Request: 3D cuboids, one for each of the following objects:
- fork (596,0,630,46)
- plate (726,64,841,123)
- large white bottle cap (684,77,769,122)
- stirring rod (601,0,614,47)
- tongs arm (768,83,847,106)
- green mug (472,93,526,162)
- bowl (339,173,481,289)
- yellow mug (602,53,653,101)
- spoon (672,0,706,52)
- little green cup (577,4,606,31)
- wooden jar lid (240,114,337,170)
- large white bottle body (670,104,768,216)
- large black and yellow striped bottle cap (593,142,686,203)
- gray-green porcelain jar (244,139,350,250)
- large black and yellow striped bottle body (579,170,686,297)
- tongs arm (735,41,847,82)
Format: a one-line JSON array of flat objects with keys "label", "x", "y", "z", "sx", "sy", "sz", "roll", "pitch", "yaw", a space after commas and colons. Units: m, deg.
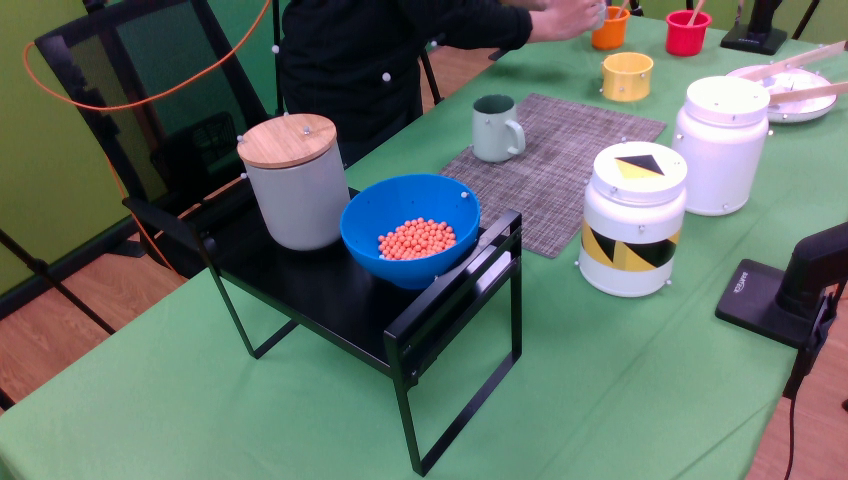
[{"label": "fork", "x": 0.480, "y": -0.556, "z": 1.452, "sx": 0.028, "sy": 0.019, "sz": 0.207, "roll": 40, "pitch": 103, "yaw": 38}, {"label": "plate", "x": 0.695, "y": -0.282, "z": 1.189, "sx": 0.207, "sy": 0.039, "sz": 0.206, "roll": -4, "pitch": 40, "yaw": 4}, {"label": "large white bottle cap", "x": 0.448, "y": -0.209, "z": 0.897, "sx": 0.115, "sy": 0.018, "sz": 0.114, "roll": -4, "pitch": 40, "yaw": 4}, {"label": "stirring rod", "x": 0.439, "y": -0.552, "z": 1.463, "sx": 0.014, "sy": 0.006, "sz": 0.175, "roll": -7, "pitch": 83, "yaw": 2}, {"label": "tongs arm", "x": 0.738, "y": -0.282, "z": 1.134, "sx": 0.388, "sy": 0.028, "sz": 0.028, "roll": -9, "pitch": 47, "yaw": -5}, {"label": "green mug", "x": 0.144, "y": -0.202, "z": 1.122, "sx": 0.093, "sy": 0.105, "sz": 0.124, "roll": -29, "pitch": 45, "yaw": -23}, {"label": "bowl", "x": -0.011, "y": 0.001, "z": 0.660, "sx": 0.151, "sy": 0.077, "sz": 0.150, "roll": -5, "pitch": 41, "yaw": 5}, {"label": "yellow mug", "x": 0.423, "y": -0.355, "z": 1.292, "sx": 0.100, "sy": 0.064, "sz": 0.129, "roll": -23, "pitch": 42, "yaw": -16}, {"label": "spoon", "x": 0.629, "y": -0.520, "z": 1.394, "sx": 0.041, "sy": 0.022, "sz": 0.193, "roll": 29, "pitch": 97, "yaw": 34}, {"label": "little green cup", "x": 0.359, "y": -0.477, "z": 1.298, "sx": 0.061, "sy": 0.039, "sz": 0.061, "roll": -9, "pitch": 38, "yaw": 7}, {"label": "wooden jar lid", "x": -0.149, "y": -0.106, "z": 0.673, "sx": 0.108, "sy": 0.021, "sz": 0.108, "roll": -6, "pitch": 39, "yaw": 5}, {"label": "large white bottle body", "x": 0.458, "y": -0.146, "z": 0.952, "sx": 0.130, "sy": 0.185, "sz": 0.130, "roll": -4, "pitch": 40, "yaw": 4}, {"label": "large black and yellow striped bottle cap", "x": 0.280, "y": -0.090, "z": 0.786, "sx": 0.115, "sy": 0.019, "sz": 0.114, "roll": -5, "pitch": 41, "yaw": 5}, {"label": "gray-green porcelain jar", "x": -0.143, "y": -0.060, "z": 0.714, "sx": 0.106, "sy": 0.127, "sz": 0.105, "roll": -4, "pitch": 41, "yaw": 4}, {"label": "large black and yellow striped bottle body", "x": 0.287, "y": -0.027, "z": 0.841, "sx": 0.131, "sy": 0.185, "sz": 0.130, "roll": -4, "pitch": 41, "yaw": 4}, {"label": "tongs arm", "x": 0.712, "y": -0.332, "z": 1.194, "sx": 0.386, "sy": 0.026, "sz": 0.050, "roll": -18, "pitch": 45, "yaw": -16}]
